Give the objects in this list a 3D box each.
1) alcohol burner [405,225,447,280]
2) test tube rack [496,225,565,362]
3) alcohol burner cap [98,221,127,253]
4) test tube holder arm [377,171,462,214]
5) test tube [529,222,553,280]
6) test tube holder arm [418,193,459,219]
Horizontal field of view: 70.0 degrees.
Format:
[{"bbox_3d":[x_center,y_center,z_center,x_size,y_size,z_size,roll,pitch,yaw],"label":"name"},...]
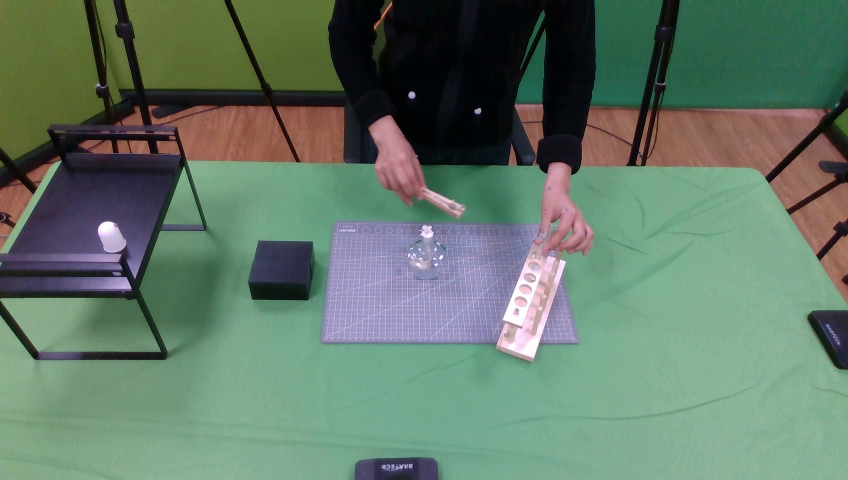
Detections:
[{"bbox_3d":[0.005,0.017,1.115,0.078,0.120,0.077,1,47,-1],"label":"alcohol burner"},{"bbox_3d":[0.200,0.089,1.080,0.066,0.085,0.241,19,48,13],"label":"test tube rack"},{"bbox_3d":[-0.468,-0.007,0.905,0.034,0.048,0.033,3,46,-3],"label":"alcohol burner cap"},{"bbox_3d":[-0.009,-0.092,1.165,0.178,0.015,0.013,26,61,8],"label":"test tube holder arm"},{"bbox_3d":[0.206,0.023,1.075,0.017,0.151,0.017,2,49,-2],"label":"test tube"},{"bbox_3d":[0.027,-0.067,1.155,0.087,0.015,0.010,32,63,11],"label":"test tube holder arm"}]
